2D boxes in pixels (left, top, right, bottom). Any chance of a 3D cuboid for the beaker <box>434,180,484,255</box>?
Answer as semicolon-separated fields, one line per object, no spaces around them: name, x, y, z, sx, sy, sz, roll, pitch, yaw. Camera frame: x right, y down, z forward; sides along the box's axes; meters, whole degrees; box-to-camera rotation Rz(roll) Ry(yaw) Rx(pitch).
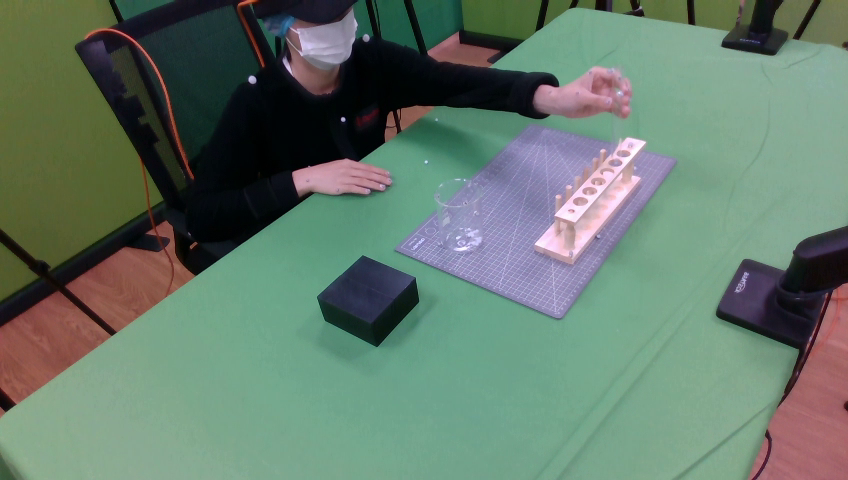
beaker;0.058;-0.035;0.944;0.073;0.101;0.084;16;45;26

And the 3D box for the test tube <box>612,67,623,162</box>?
test tube;0.291;-0.184;0.906;0.017;0.151;0.017;-8;34;6

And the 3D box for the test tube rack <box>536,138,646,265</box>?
test tube rack;0.268;-0.071;0.964;0.066;0.085;0.243;23;49;32
